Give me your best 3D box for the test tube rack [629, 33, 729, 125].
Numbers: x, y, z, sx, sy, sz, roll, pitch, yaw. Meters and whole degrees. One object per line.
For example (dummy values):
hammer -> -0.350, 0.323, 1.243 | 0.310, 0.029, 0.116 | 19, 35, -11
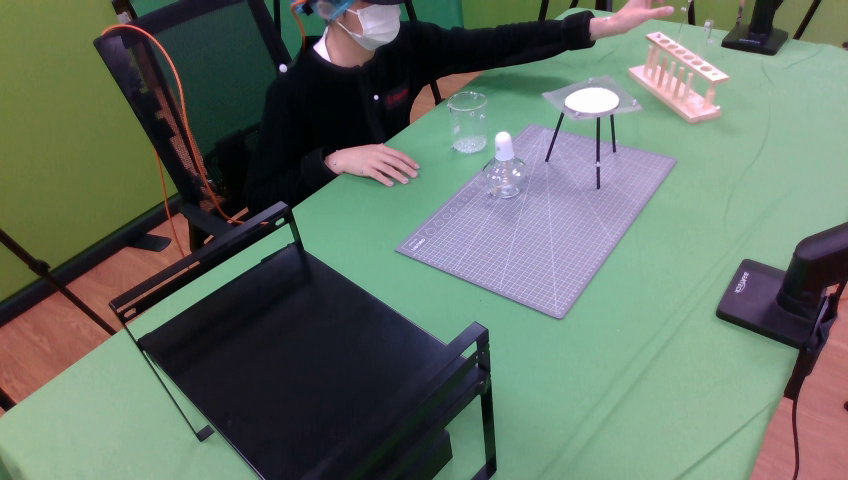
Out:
test tube rack -> 0.516, -0.337, 1.248 | 0.067, 0.085, 0.240 | -14, 41, -7

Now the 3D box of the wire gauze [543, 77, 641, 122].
wire gauze -> 0.282, -0.236, 1.020 | 0.125, 0.011, 0.120 | -15, 40, -6

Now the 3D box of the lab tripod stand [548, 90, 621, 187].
lab tripod stand -> 0.289, -0.184, 1.062 | 0.148, 0.132, 0.147 | -6, 41, 6

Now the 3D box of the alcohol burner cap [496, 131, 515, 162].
alcohol burner cap -> 0.135, -0.160, 1.019 | 0.034, 0.048, 0.033 | -7, 38, 6

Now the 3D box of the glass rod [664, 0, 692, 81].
glass rod -> 0.524, -0.419, 1.239 | 0.008, 0.200, 0.008 | 1, 41, -1

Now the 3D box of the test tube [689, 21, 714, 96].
test tube -> 0.541, -0.353, 1.184 | 0.017, 0.151, 0.017 | -2, 40, 2

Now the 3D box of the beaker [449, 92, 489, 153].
beaker -> 0.091, -0.228, 1.177 | 0.073, 0.101, 0.084 | 15, 45, 24

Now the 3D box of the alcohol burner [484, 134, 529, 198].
alcohol burner -> 0.141, -0.133, 1.041 | 0.078, 0.119, 0.077 | -5, 42, 5
